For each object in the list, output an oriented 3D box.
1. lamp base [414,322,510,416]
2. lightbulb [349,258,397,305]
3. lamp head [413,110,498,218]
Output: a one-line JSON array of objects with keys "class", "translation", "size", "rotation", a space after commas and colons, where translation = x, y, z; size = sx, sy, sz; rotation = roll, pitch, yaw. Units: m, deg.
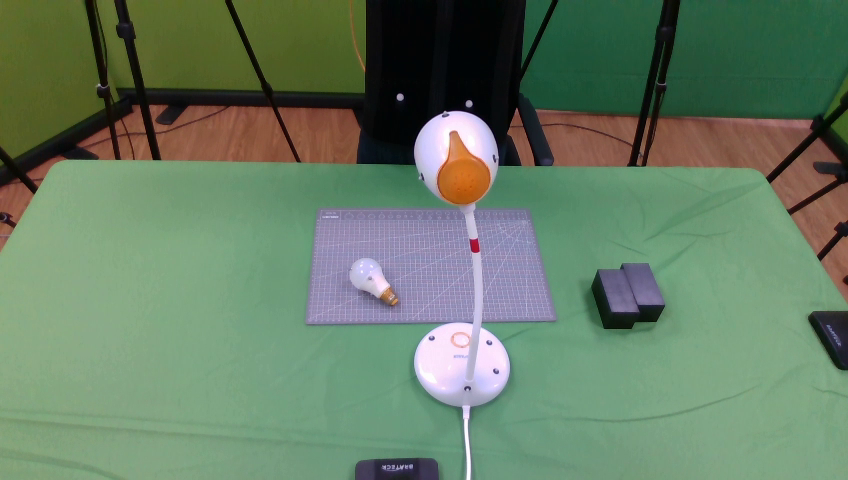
[{"class": "lamp base", "translation": [0.069, 0.159, 0.942], "size": [0.161, 0.181, 0.178], "rotation": [-4, 49, -8]}, {"class": "lightbulb", "translation": [-0.090, 0.078, 1.095], "size": [0.107, 0.060, 0.059], "rotation": [43, 56, 12]}, {"class": "lamp head", "translation": [0.044, -0.090, 0.758], "size": [0.112, 0.113, 0.122], "rotation": [-1, 32, -4]}]
